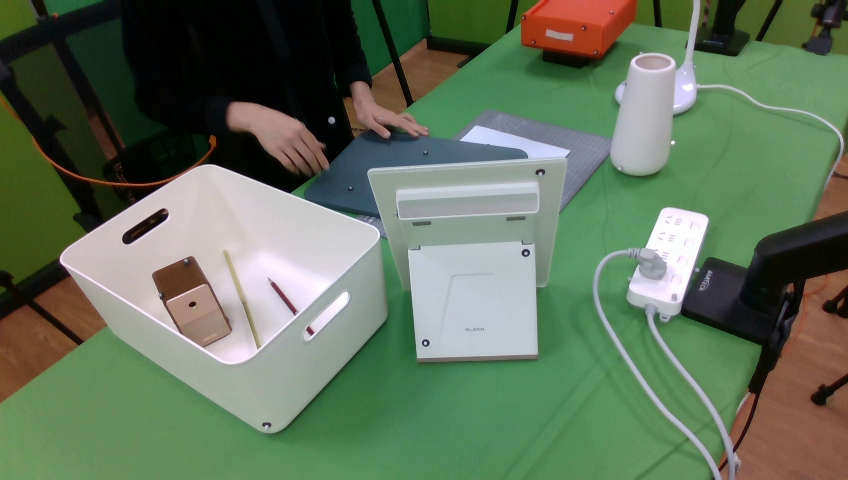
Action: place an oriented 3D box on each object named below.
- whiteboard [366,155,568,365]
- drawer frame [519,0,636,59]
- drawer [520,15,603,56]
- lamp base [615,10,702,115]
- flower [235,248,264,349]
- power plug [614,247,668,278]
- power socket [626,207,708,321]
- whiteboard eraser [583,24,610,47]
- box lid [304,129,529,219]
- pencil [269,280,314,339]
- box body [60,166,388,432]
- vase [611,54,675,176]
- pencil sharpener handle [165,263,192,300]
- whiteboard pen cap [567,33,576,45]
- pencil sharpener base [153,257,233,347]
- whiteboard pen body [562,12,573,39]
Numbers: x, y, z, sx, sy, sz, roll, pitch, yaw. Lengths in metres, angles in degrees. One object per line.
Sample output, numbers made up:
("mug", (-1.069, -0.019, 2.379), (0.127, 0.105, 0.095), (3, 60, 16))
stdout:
("whiteboard", (0.059, 0.050, 0.738), (0.217, 0.307, 0.143), (-2, 60, 5))
("drawer frame", (0.362, -0.518, 1.423), (0.200, 0.083, 0.214), (19, 48, 29))
("drawer", (0.359, -0.517, 1.416), (0.193, 0.073, 0.212), (20, 47, 29))
("lamp base", (0.484, -0.364, 1.211), (0.180, 0.181, 0.159), (-15, 41, -14))
("flower", (-0.244, 0.108, 0.869), (0.044, 0.038, 0.358), (9, 27, -32))
("power plug", (0.306, 0.031, 0.851), (0.072, 0.053, 0.035), (24, 49, 33))
("power socket", (0.359, 0.025, 0.886), (0.072, 0.033, 0.227), (16, 46, 26))
("whiteboard eraser", (0.407, -0.479, 1.423), (0.055, 0.042, 0.113), (-3, 10, 20))
("box lid", (-0.010, -0.117, 1.122), (0.369, 0.015, 0.263), (11, 44, 21))
("pencil", (-0.188, 0.106, 0.880), (0.012, 0.012, 0.192), (-28, 42, -23))
("box body", (-0.256, 0.065, 0.827), (0.361, 0.161, 0.255), (20, 48, 29))
("vase", (0.377, -0.209, 1.031), (0.098, 0.201, 0.097), (-4, 40, 3))
("pencil sharpener handle", (-0.353, 0.054, 0.867), (0.036, 0.068, 0.030), (-18, 40, -28))
("whiteboard pen cap", (0.339, -0.463, 1.390), (0.018, 0.018, 0.033), (-2, 44, 5))
("pencil sharpener base", (-0.322, 0.088, 0.843), (0.061, 0.107, 0.076), (-27, 44, -20))
("whiteboard pen body", (0.341, -0.506, 1.430), (0.017, 0.017, 0.140), (-2, 43, 6))
